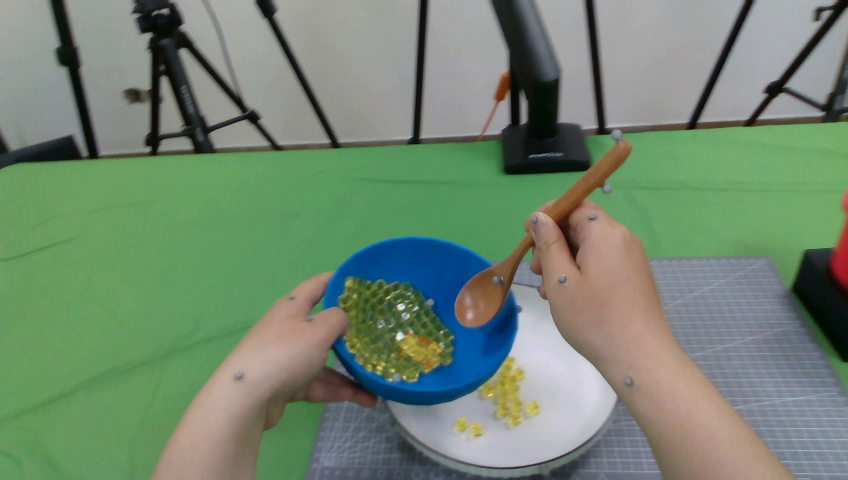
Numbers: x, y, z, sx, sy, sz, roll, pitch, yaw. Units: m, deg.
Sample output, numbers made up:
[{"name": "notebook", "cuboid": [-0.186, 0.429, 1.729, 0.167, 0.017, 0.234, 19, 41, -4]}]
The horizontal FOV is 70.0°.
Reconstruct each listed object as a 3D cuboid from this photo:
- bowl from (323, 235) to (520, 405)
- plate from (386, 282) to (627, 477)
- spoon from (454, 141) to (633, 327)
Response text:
[{"name": "bowl", "cuboid": [-0.004, 0.075, 0.485, 0.151, 0.077, 0.150, 4, 45, -4]}, {"name": "plate", "cuboid": [0.068, 0.118, 0.534, 0.207, 0.039, 0.205, -4, 38, 3]}, {"name": "spoon", "cuboid": [0.073, 0.002, 0.413, 0.022, 0.194, 0.041, 7, 51, -26]}]
